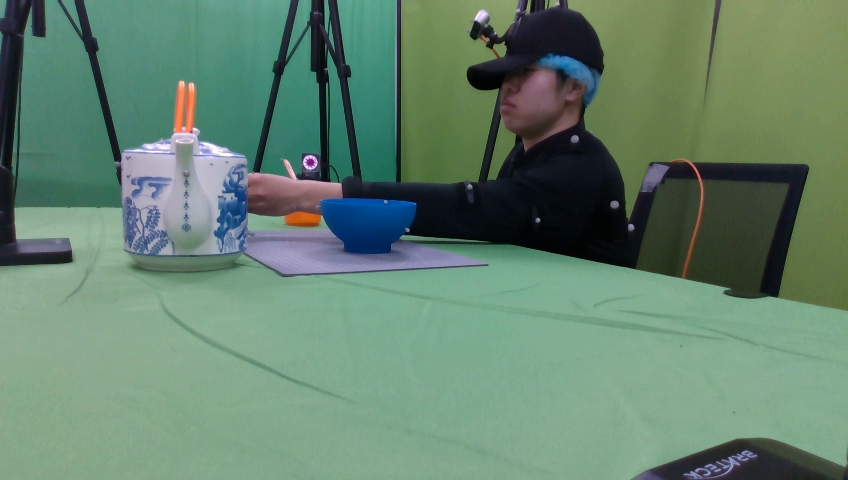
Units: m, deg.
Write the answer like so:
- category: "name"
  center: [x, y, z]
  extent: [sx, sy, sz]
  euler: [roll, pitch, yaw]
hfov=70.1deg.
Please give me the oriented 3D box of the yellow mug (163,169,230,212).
- category: "yellow mug"
  center: [-0.364, -0.082, 0.996]
  extent: [0.099, 0.064, 0.131]
  euler: [5, 7, 19]

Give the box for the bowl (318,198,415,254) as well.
- category: "bowl"
  center: [-0.089, -0.022, 0.941]
  extent: [0.151, 0.077, 0.151]
  euler: [2, 7, 0]

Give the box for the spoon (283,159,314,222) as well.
- category: "spoon"
  center: [-0.280, -0.110, 1.323]
  extent: [0.042, 0.193, 0.021]
  euler: [1, -38, -35]

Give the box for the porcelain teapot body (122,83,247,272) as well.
- category: "porcelain teapot body"
  center: [-0.286, -0.075, 0.733]
  extent: [0.146, 0.225, 0.204]
  euler: [0, 8, -24]

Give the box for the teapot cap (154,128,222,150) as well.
- category: "teapot cap"
  center: [-0.294, -0.117, 0.754]
  extent: [0.085, 0.044, 0.085]
  euler: [4, 9, 0]
